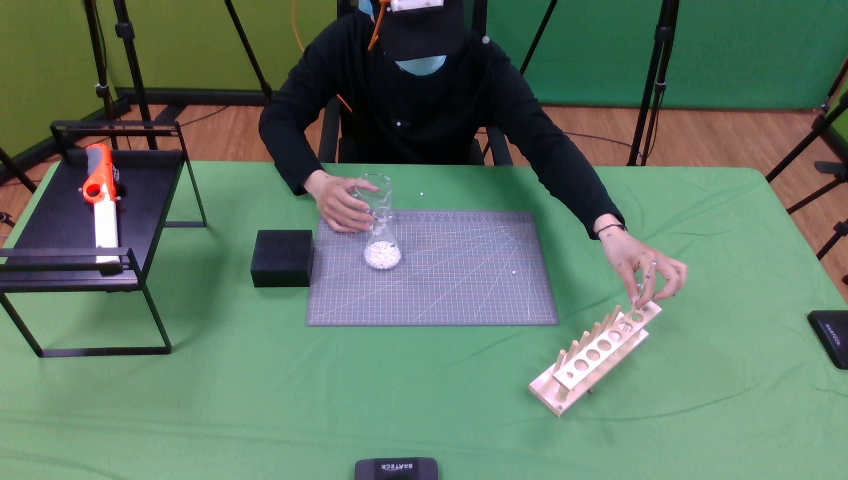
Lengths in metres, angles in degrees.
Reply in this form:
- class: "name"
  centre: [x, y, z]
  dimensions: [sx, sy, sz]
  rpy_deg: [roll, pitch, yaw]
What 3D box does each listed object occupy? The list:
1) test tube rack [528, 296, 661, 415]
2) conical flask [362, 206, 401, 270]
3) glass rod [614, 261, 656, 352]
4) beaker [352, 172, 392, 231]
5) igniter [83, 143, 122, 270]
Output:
- class: "test tube rack"
  centre: [0.285, 0.178, 1.005]
  dimensions: [0.242, 0.085, 0.066]
  rpy_deg: [-31, 55, -29]
- class: "conical flask"
  centre: [-0.078, -0.008, 1.127]
  dimensions: [0.075, 0.122, 0.075]
  rpy_deg: [2, 46, -2]
- class: "glass rod"
  centre: [0.336, 0.111, 0.977]
  dimensions: [0.008, 0.200, 0.008]
  rpy_deg: [6, 37, -4]
- class: "beaker"
  centre: [-0.100, -0.072, 1.202]
  dimensions: [0.074, 0.101, 0.083]
  rpy_deg: [-20, 52, -21]
- class: "igniter"
  centre: [-0.508, -0.063, 0.962]
  dimensions: [0.057, 0.025, 0.274]
  rpy_deg: [-14, 53, -18]
